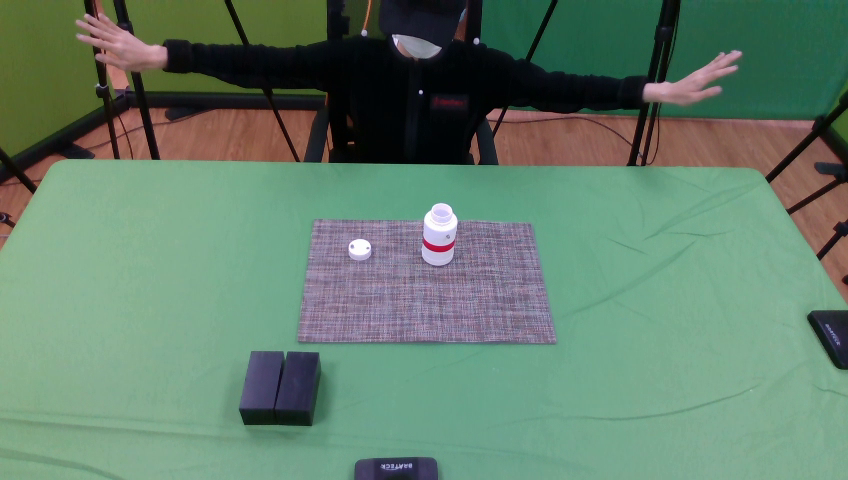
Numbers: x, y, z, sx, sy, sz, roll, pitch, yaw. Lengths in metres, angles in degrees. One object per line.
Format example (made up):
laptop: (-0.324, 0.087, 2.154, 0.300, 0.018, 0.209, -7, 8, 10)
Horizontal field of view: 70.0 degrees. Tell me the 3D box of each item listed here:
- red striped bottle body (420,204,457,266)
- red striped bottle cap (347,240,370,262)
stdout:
red striped bottle body: (0.027, -0.011, 1.138, 0.063, 0.120, 0.062, 3, 45, -3)
red striped bottle cap: (-0.127, 0.020, 1.169, 0.044, 0.018, 0.044, 2, 49, -3)
